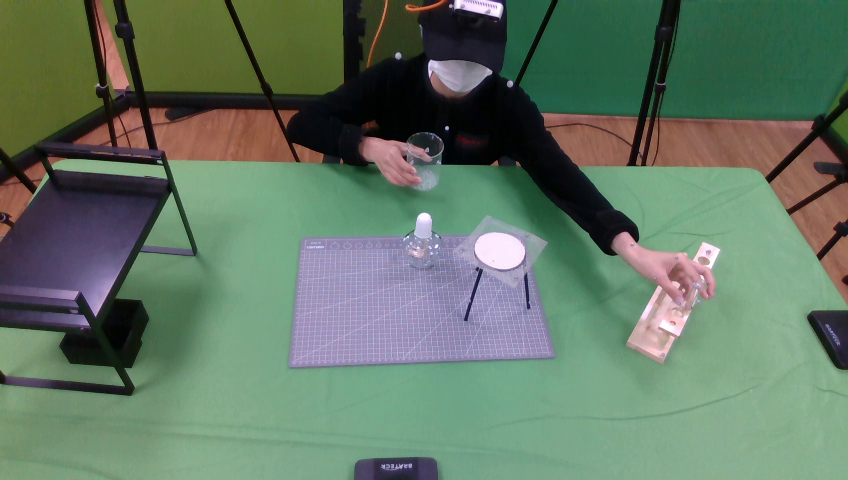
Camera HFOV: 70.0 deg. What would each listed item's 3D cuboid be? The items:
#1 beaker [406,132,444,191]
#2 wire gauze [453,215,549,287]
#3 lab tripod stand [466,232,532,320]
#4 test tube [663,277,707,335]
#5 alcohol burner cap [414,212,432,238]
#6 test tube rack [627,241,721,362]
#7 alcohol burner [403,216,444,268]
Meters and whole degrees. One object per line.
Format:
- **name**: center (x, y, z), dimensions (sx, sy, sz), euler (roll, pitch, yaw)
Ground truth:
- **beaker**: center (0.001, -0.156, 1.213), dimensions (0.074, 0.101, 0.083), euler (21, 53, 12)
- **wire gauze**: center (0.129, 0.012, 1.017), dimensions (0.124, 0.011, 0.121), euler (28, 50, 23)
- **lab tripod stand**: center (0.125, 0.059, 1.065), dimensions (0.148, 0.132, 0.147), euler (1, 45, 0)
- **test tube**: center (0.429, 0.114, 1.001), dimensions (0.017, 0.151, 0.017), euler (4, 46, -4)
- **alcohol burner cap**: center (0.000, -0.030, 1.107), dimensions (0.034, 0.048, 0.033), euler (4, 41, -3)
- **test tube rack**: center (0.452, 0.098, 1.087), dimensions (0.066, 0.085, 0.242), euler (28, 51, 22)
- **alcohol burner**: center (-0.001, -0.004, 1.132), dimensions (0.078, 0.120, 0.077), euler (1, 47, -1)
